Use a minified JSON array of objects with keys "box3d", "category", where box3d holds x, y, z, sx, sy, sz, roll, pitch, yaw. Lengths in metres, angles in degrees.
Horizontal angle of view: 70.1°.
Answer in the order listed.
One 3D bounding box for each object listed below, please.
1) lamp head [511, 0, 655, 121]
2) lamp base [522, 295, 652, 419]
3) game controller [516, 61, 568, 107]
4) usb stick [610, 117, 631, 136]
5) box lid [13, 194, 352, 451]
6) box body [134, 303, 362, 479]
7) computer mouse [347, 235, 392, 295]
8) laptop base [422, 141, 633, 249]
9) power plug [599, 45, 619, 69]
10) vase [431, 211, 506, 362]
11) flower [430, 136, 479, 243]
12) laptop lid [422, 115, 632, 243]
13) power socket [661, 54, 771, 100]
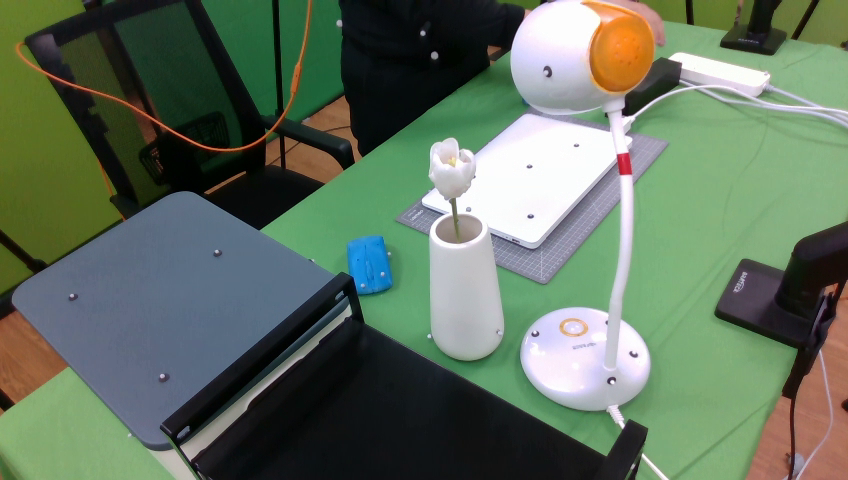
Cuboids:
[{"box3d":[0.155,-0.168,0.564,0.113,0.113,0.122,-18,23,-12],"category":"lamp head"},{"box3d":[0.201,0.095,0.710,0.161,0.181,0.177,-16,43,-10],"category":"lamp base"},{"box3d":[0.260,-0.352,1.336,0.097,0.052,0.154,-3,40,3],"category":"game controller"},{"box3d":[0.370,-0.208,1.148,0.021,0.027,0.059,25,54,34],"category":"usb stick"},{"box3d":[-0.291,0.067,0.717,0.368,0.015,0.264,25,50,33],"category":"box lid"},{"box3d":[-0.285,0.123,0.766,0.361,0.161,0.255,25,49,33],"category":"box body"},{"box3d":[-0.086,0.035,0.936,0.063,0.041,0.116,-8,44,-5],"category":"computer mouse"},{"box3d":[0.193,-0.117,1.087,0.233,0.023,0.355,21,47,34],"category":"laptop base"},{"box3d":[0.435,-0.421,1.413,0.053,0.035,0.072,-14,75,-45],"category":"power plug"},{"box3d":[0.054,0.061,0.757,0.098,0.201,0.097,-3,40,3],"category":"vase"},{"box3d":[0.041,0.011,0.691,0.044,0.363,0.038,15,62,14],"category":"flower"},{"box3d":[0.190,-0.127,1.081,0.239,0.013,0.358,23,49,35],"category":"laptop lid"},{"box3d":[0.614,-0.349,1.285,0.072,0.033,0.225,-36,48,-29],"category":"power socket"}]
